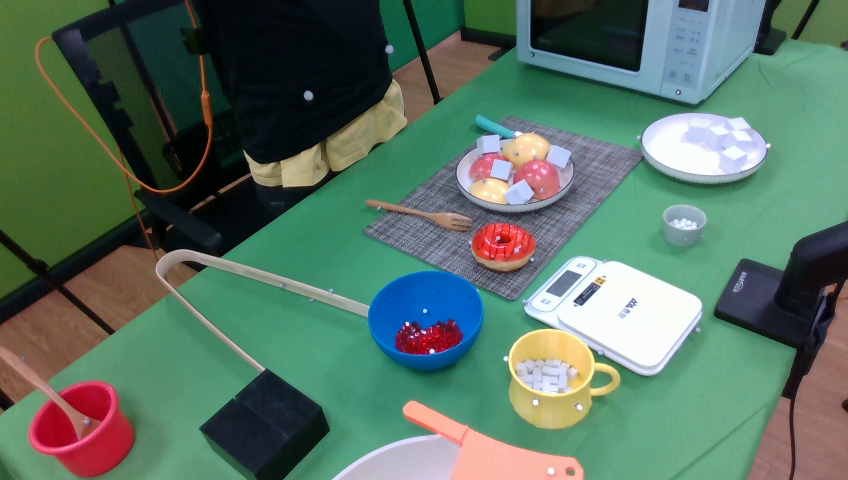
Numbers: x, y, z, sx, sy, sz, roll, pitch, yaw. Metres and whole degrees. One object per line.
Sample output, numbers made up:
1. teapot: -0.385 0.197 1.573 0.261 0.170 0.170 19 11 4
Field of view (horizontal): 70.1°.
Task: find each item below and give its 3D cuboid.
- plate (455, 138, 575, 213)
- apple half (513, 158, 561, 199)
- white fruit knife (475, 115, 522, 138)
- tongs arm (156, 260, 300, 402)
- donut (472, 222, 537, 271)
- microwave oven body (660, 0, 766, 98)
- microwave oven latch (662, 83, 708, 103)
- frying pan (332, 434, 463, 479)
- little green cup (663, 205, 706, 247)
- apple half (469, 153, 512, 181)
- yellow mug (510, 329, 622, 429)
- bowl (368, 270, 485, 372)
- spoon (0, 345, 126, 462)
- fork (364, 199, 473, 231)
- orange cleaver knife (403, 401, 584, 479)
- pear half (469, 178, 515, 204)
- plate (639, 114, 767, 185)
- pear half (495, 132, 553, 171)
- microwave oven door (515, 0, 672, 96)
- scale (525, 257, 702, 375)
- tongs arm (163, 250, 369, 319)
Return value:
1. plate: 0.159 -0.111 1.063 0.209 0.038 0.208 -4 40 4
2. apple half: 0.193 -0.111 1.031 0.080 0.053 0.075 11 41 26
3. white fruit knife: 0.177 -0.207 1.190 0.205 0.016 0.027 31 64 35
4. tongs arm: -0.295 0.122 0.870 0.384 0.028 0.028 28 59 35
5. donut: 0.123 0.009 0.923 0.099 0.048 0.098 -4 37 3
6. microwave oven body: 0.472 -0.513 1.317 0.438 0.261 0.327 26 51 34
7. microwave oven latch: 0.517 -0.296 1.204 0.078 0.029 0.030 28 52 35
8. frying pan: -0.089 0.306 0.564 0.487 0.103 0.306 10 41 7
9. little green cup: 0.396 -0.020 0.926 0.061 0.039 0.061 -4 40 4
10. apple half: 0.119 -0.138 1.088 0.081 0.033 0.081 -1 44 2
11. yellow mug: 0.168 0.164 0.721 0.130 0.064 0.099 0 40 8
12. bowl: 0.007 0.119 0.791 0.151 0.077 0.150 -5 39 4
13. spoon: -0.434 0.192 0.720 0.194 0.021 0.042 47 53 -7
14. fork: -0.014 -0.046 1.027 0.206 0.028 0.019 14 18 27
15. orange cleaver knife: 0.062 0.222 0.609 0.210 0.012 0.077 15 49 25
16. pear half: 0.115 -0.090 1.036 0.087 0.031 0.071 28 38 32
17. plate: 0.489 -0.157 1.074 0.207 0.039 0.206 -4 40 4
18. pear half: 0.174 -0.167 1.095 0.109 0.056 0.076 15 53 30
19. microwave oven door: 0.343 -0.454 1.259 0.353 0.245 0.039 26 51 33
20. scale: 0.254 0.091 0.821 0.199 0.032 0.149 28 51 35
21. tongs arm: -0.247 0.072 0.917 0.382 0.026 0.051 16 49 26
